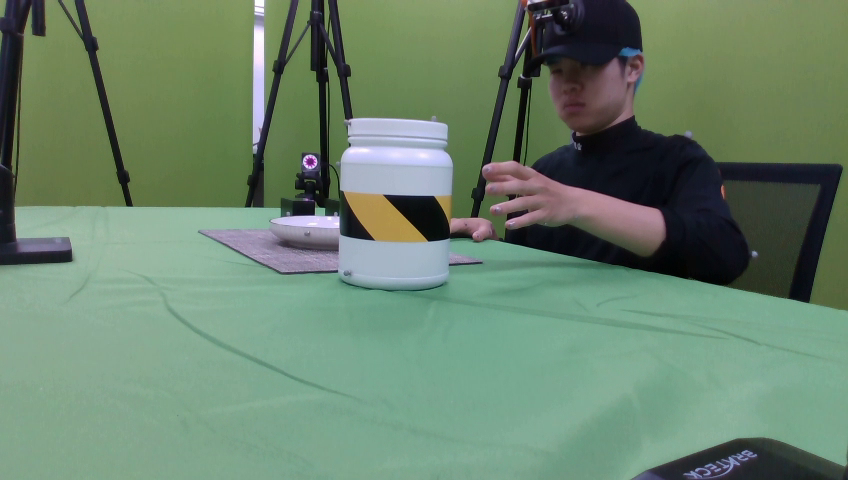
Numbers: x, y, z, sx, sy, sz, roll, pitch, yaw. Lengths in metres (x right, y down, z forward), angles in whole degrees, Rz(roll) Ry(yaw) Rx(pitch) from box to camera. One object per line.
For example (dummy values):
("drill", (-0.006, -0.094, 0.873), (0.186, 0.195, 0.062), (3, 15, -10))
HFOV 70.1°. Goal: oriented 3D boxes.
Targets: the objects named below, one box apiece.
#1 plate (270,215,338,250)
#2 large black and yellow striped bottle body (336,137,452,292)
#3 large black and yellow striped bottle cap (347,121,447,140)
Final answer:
("plate", (-0.145, -0.013, 0.992), (0.208, 0.039, 0.207), (2, 7, 0))
("large black and yellow striped bottle body", (-0.034, -0.041, 0.703), (0.131, 0.184, 0.130), (3, 7, 0))
("large black and yellow striped bottle cap", (-0.031, -0.124, 0.691), (0.115, 0.019, 0.115), (1, 7, 0))
